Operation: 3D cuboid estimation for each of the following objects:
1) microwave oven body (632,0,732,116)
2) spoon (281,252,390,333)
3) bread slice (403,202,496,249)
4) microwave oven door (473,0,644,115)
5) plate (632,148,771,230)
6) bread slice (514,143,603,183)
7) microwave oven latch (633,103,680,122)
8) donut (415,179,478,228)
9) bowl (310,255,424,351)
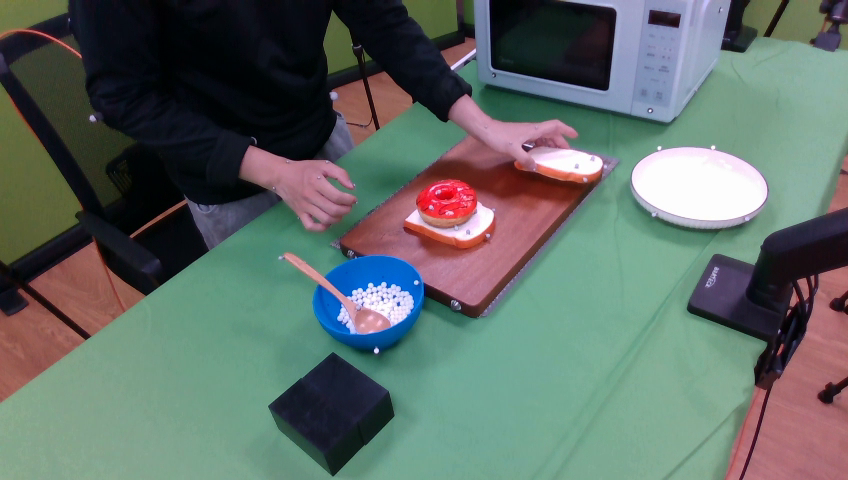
[{"bbox_3d":[0.377,-0.462,1.267,0.438,0.261,0.327,21,49,30],"label":"microwave oven body"},{"bbox_3d":[-0.122,0.070,0.811,0.193,0.022,0.042,38,63,16],"label":"spoon"},{"bbox_3d":[0.048,-0.034,0.961,0.130,0.019,0.105,22,49,32],"label":"bread slice"},{"bbox_3d":[0.257,-0.396,1.199,0.353,0.245,0.039,21,48,29],"label":"microwave oven door"},{"bbox_3d":[0.447,-0.081,0.988,0.207,0.039,0.206,-4,40,4],"label":"plate"},{"bbox_3d":[0.232,-0.130,1.020,0.133,0.018,0.107,14,33,20],"label":"bread slice"},{"bbox_3d":[0.444,-0.249,1.157,0.078,0.029,0.030,21,49,30],"label":"microwave oven latch"},{"bbox_3d":[0.036,-0.058,0.944,0.099,0.048,0.098,-5,39,4],"label":"donut"},{"bbox_3d":[-0.072,0.098,0.821,0.151,0.077,0.150,-4,40,4],"label":"bowl"}]
